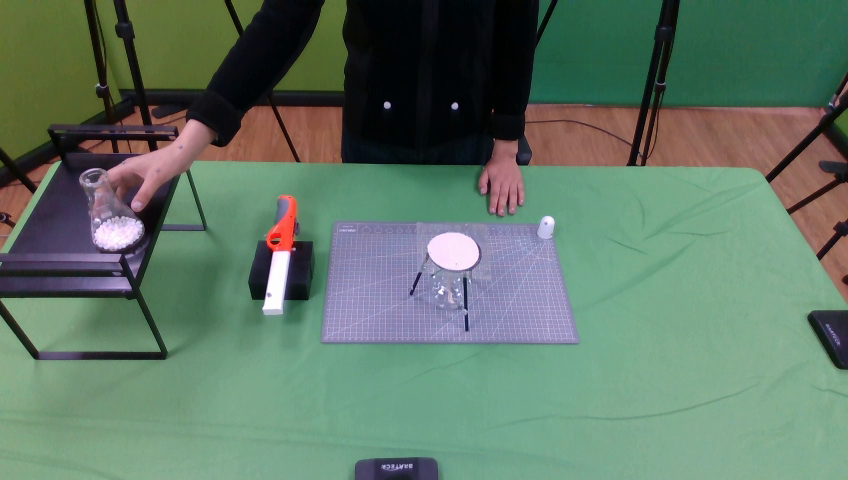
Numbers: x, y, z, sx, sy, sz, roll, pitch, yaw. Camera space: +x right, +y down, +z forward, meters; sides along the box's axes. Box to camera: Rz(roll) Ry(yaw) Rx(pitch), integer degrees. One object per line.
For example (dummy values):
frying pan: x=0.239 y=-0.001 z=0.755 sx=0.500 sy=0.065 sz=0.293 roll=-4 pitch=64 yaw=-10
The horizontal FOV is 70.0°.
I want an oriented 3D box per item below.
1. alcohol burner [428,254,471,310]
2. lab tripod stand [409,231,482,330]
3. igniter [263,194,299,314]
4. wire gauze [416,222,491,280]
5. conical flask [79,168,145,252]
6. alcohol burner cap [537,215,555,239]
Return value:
alcohol burner: x=0.046 y=0.068 z=1.070 sx=0.078 sy=0.119 sz=0.077 roll=3 pitch=45 yaw=-3
lab tripod stand: x=0.051 y=0.064 z=1.060 sx=0.148 sy=0.132 sz=0.147 roll=4 pitch=46 yaw=-4
igniter: x=-0.259 y=0.016 z=1.093 sx=0.057 sy=0.025 sz=0.274 roll=-3 pitch=49 yaw=-2
wire gauze: x=0.048 y=0.014 z=1.013 sx=0.125 sy=0.011 sz=0.120 roll=3 pitch=47 yaw=-3
conical flask: x=-0.463 y=-0.048 z=0.888 sx=0.075 sy=0.122 sz=0.075 roll=2 pitch=46 yaw=-2
alcohol burner cap: x=0.249 y=-0.029 z=1.228 sx=0.034 sy=0.048 sz=0.033 roll=1 pitch=48 yaw=-1
